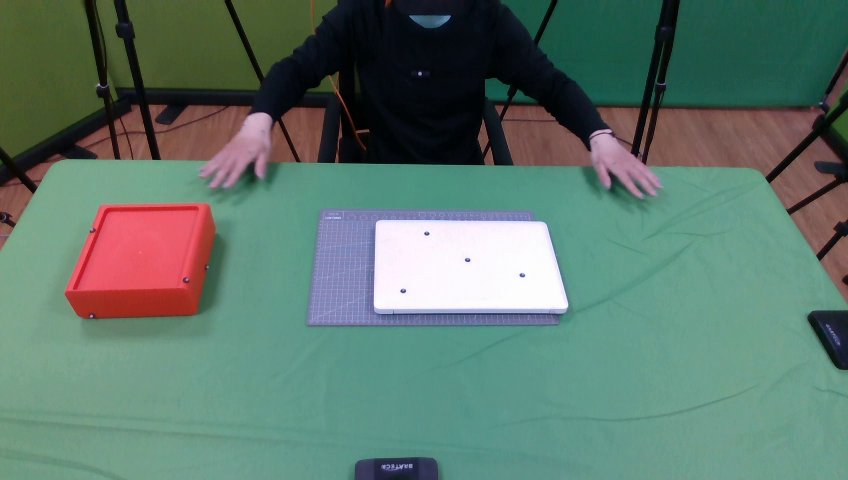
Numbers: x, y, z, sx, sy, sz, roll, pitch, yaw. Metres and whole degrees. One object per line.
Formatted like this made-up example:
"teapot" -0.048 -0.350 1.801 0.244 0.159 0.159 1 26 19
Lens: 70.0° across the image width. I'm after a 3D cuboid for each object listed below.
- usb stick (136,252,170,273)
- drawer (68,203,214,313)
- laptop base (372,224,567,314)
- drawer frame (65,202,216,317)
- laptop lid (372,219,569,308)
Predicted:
"usb stick" -0.498 0.040 1.106 0.059 0.027 0.021 11 46 6
"drawer" -0.499 0.028 1.091 0.195 0.073 0.210 -1 47 -6
"laptop base" 0.080 0.049 1.158 0.355 0.023 0.234 0 43 -4
"drawer frame" -0.497 0.029 1.090 0.202 0.083 0.212 -1 47 -6
"laptop lid" 0.081 0.039 1.152 0.357 0.013 0.240 2 44 -3
